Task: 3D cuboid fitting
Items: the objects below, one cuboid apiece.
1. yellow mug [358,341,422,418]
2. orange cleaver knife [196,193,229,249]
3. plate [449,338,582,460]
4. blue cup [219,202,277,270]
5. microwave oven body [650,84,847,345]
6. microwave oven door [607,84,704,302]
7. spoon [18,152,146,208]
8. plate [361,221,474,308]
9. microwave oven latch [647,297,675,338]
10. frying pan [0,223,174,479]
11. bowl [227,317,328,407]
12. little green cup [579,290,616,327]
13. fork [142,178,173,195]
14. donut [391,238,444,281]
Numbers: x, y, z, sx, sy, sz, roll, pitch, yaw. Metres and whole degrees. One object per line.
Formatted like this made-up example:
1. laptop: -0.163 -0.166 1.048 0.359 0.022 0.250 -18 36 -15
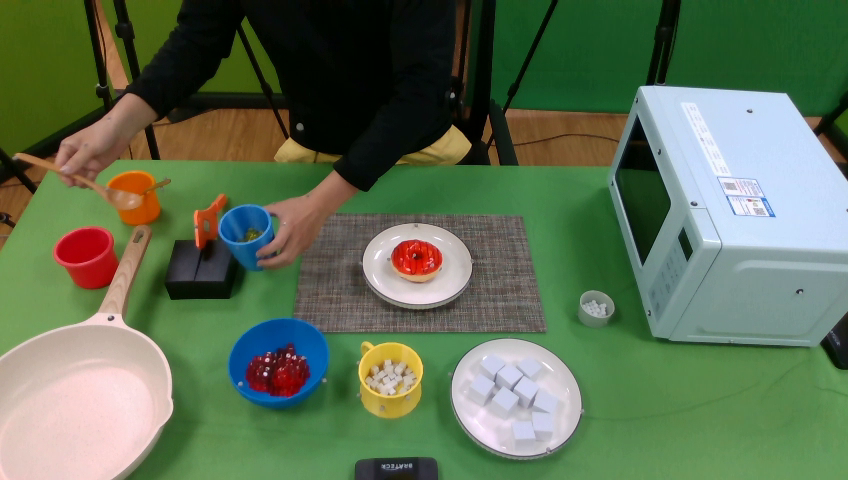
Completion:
1. yellow mug: -0.063 0.210 0.960 0.100 0.064 0.130 -29 54 -28
2. orange cleaver knife: -0.405 -0.041 1.163 0.012 0.077 0.210 1 17 -3
3. plate: 0.141 0.251 0.956 0.208 0.039 0.206 2 46 -2
4. blue cup: -0.292 0.001 1.035 0.092 0.101 0.092 0 53 1
5. microwave oven body: 0.569 -0.054 1.115 0.326 0.261 0.439 2 46 -1
6. microwave oven door: 0.424 -0.096 1.137 0.039 0.245 0.353 2 46 -1
7. spoon: -0.549 -0.099 0.979 0.194 0.021 0.041 28 44 -23
8. plate: -0.011 0.049 1.130 0.209 0.038 0.208 2 46 -2
9. microwave oven latch: 0.413 0.133 1.060 0.030 0.029 0.078 5 46 2
10. frying pan: -0.505 0.169 0.941 0.307 0.103 0.485 5 54 -1
11. bowl: -0.222 0.203 0.947 0.151 0.077 0.150 2 46 -2
12. little green cup: 0.308 0.124 1.086 0.061 0.039 0.061 1 45 -1
13. fork: -0.524 -0.089 1.153 0.207 0.019 0.028 -17 26 45
14. donut: -0.012 0.035 1.128 0.099 0.048 0.098 3 43 -3
